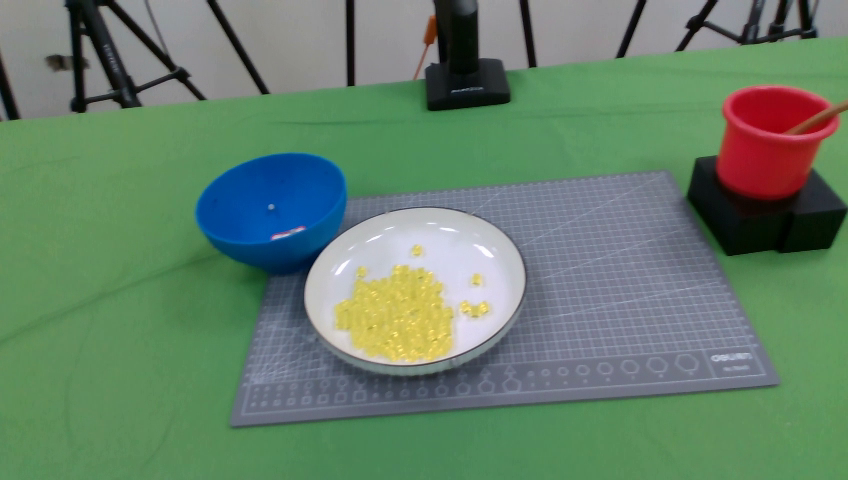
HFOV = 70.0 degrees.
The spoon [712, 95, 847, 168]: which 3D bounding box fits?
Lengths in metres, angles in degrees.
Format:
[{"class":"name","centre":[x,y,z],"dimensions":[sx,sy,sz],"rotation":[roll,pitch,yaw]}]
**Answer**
[{"class":"spoon","centre":[0.356,-0.110,0.546],"dimensions":[0.193,0.022,0.041],"rotation":[-31,16,45]}]

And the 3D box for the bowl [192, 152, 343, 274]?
[{"class":"bowl","centre":[-0.153,-0.018,0.632],"dimensions":[0.151,0.077,0.150],"rotation":[-4,42,4]}]

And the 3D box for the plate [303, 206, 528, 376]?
[{"class":"plate","centre":[-0.007,0.046,0.572],"dimensions":[0.207,0.039,0.205],"rotation":[-4,42,4]}]
